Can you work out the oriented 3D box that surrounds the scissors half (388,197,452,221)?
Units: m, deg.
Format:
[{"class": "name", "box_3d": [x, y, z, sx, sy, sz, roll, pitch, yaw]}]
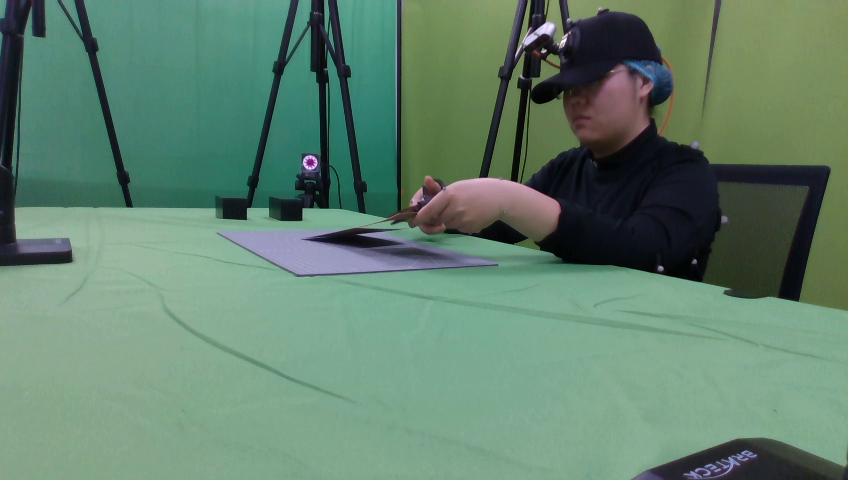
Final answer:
[{"class": "scissors half", "box_3d": [-0.006, -0.049, 1.068, 0.012, 0.040, 0.176, -15, -1, 42]}]

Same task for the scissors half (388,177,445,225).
[{"class": "scissors half", "box_3d": [-0.014, -0.068, 1.066, 0.013, 0.040, 0.175, -22, 15, 43]}]

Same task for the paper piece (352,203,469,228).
[{"class": "paper piece", "box_3d": [-0.023, -0.039, 0.941, 0.137, 0.008, 0.137, -18, 7, -36]}]

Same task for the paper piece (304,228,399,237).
[{"class": "paper piece", "box_3d": [-0.123, -0.014, 1.047, 0.135, 0.004, 0.136, -6, -1, 39]}]
